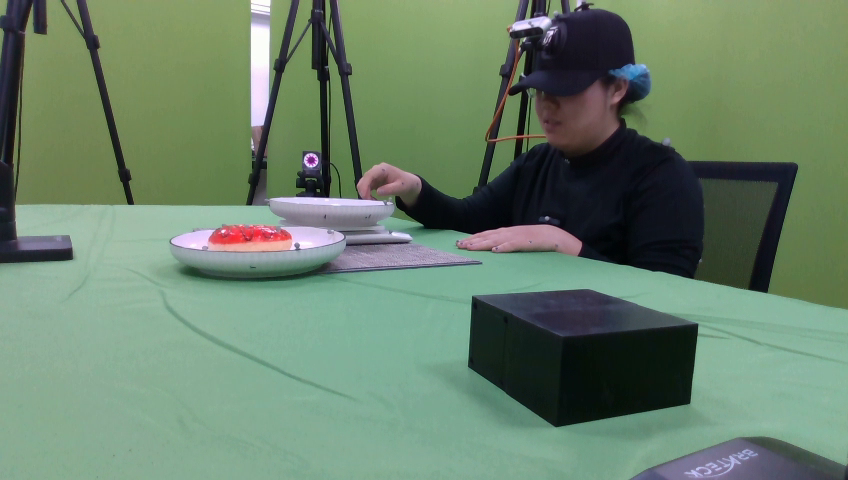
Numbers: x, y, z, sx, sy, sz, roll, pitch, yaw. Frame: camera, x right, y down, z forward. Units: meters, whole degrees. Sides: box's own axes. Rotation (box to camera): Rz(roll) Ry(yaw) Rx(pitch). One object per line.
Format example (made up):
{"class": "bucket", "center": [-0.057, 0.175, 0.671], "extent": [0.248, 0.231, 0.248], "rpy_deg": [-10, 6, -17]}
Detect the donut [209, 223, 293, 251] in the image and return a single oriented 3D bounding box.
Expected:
{"class": "donut", "center": [-0.210, 0.004, 0.738], "extent": [0.099, 0.048, 0.099], "rpy_deg": [0, 8, 0]}

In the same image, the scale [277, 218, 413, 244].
{"class": "scale", "center": [-0.134, -0.015, 1.015], "extent": [0.202, 0.031, 0.148], "rpy_deg": [-1, 9, -33]}

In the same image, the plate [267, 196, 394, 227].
{"class": "plate", "center": [-0.152, -0.047, 0.998], "extent": [0.208, 0.039, 0.207], "rpy_deg": [2, 7, 0]}

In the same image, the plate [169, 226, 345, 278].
{"class": "plate", "center": [-0.202, 0.014, 0.748], "extent": [0.209, 0.038, 0.209], "rpy_deg": [1, 9, 0]}
